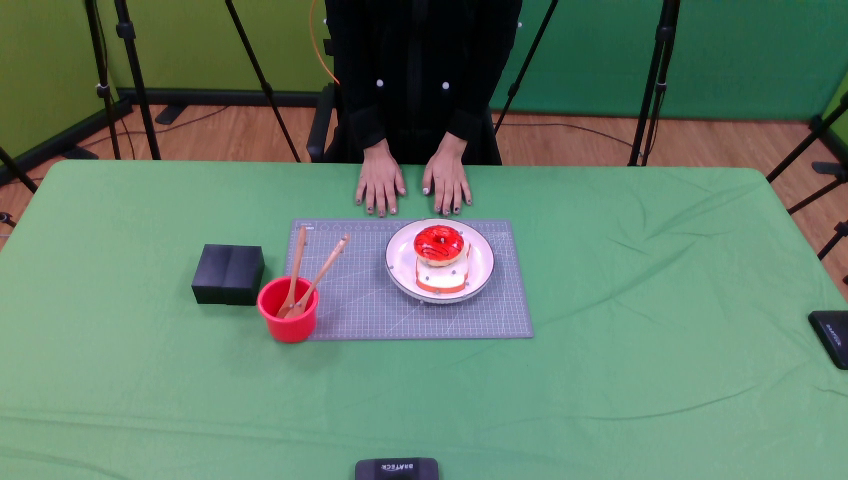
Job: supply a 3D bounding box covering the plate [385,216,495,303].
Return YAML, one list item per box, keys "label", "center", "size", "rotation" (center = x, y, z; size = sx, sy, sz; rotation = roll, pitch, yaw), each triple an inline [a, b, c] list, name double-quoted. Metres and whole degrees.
- label: "plate"
  center: [0.030, 0.040, 1.145]
  size: [0.209, 0.038, 0.208]
  rotation: [2, 46, -2]

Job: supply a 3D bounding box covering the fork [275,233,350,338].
- label: "fork"
  center: [-0.184, 0.075, 1.014]
  size: [0.028, 0.018, 0.207]
  rotation: [35, 95, 13]

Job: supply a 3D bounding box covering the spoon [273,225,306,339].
- label: "spoon"
  center: [-0.220, 0.070, 1.026]
  size: [0.041, 0.021, 0.193]
  rotation: [10, 91, -1]

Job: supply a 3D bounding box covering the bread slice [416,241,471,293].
- label: "bread slice"
  center: [0.037, 0.046, 1.144]
  size: [0.105, 0.019, 0.131]
  rotation: [4, 45, 2]

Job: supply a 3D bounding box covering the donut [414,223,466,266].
- label: "donut"
  center: [0.030, 0.007, 1.140]
  size: [0.099, 0.048, 0.098]
  rotation: [0, 42, 0]
